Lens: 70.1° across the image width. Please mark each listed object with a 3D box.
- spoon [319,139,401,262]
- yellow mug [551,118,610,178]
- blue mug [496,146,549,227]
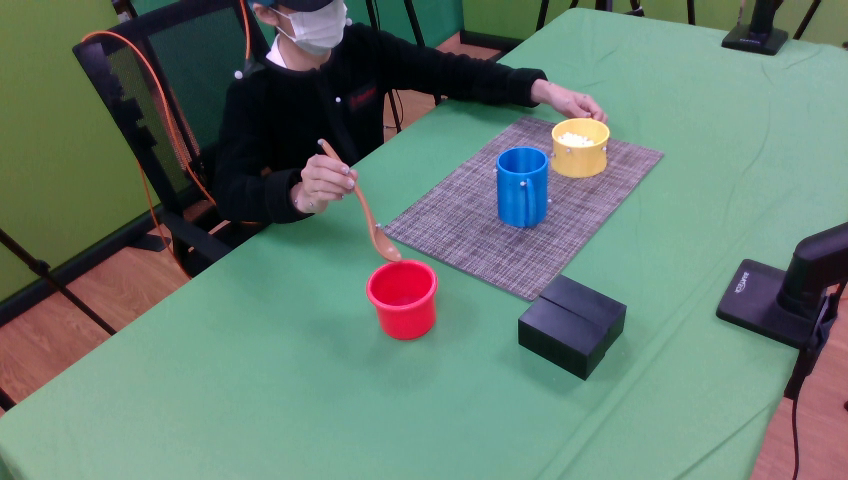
[{"bbox_3d":[-0.086,-0.052,0.811,0.021,0.194,0.042,-22,12,29],"label":"spoon"},{"bbox_3d":[0.287,-0.176,1.098,0.099,0.064,0.131,12,43,22],"label":"yellow mug"},{"bbox_3d":[0.162,-0.076,0.969,0.082,0.106,0.116,-9,40,-1],"label":"blue mug"}]
